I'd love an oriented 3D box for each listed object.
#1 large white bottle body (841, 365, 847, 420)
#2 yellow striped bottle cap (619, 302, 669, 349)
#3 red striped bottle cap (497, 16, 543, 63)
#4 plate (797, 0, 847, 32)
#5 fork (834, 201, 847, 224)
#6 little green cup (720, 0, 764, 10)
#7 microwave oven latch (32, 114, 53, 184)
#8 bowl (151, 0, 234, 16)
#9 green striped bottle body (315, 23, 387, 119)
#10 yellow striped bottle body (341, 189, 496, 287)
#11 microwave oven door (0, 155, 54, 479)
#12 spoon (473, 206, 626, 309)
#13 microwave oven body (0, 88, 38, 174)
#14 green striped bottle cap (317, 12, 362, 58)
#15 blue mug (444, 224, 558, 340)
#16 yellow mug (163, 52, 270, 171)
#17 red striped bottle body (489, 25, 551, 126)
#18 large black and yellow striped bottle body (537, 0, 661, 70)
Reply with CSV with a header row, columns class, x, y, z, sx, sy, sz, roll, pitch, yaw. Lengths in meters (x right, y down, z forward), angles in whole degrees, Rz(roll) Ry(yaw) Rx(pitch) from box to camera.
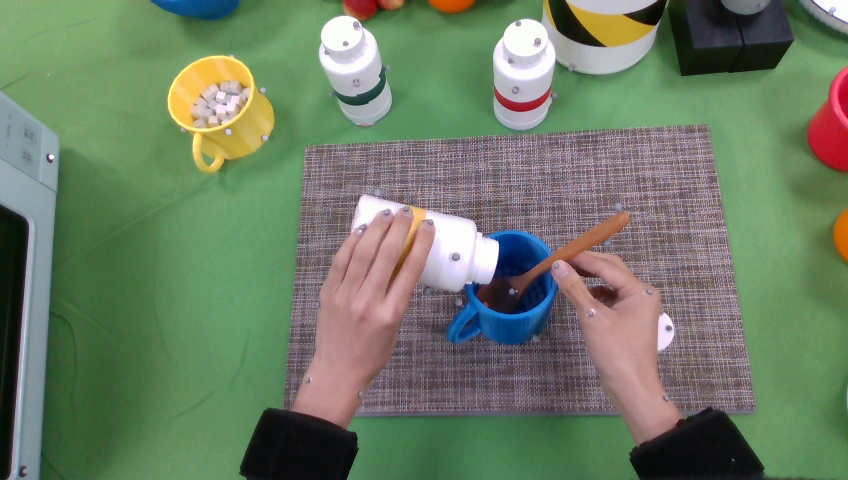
class,x,y,z,sx,sy,sz,roll,pitch,yaw
large white bottle body,0.432,0.119,0.461,0.130,0.186,0.129,-2,69,6
yellow striped bottle cap,0.212,0.082,0.586,0.044,0.019,0.044,-2,70,6
red striped bottle cap,0.094,-0.196,0.590,0.044,0.018,0.044,-1,69,2
plate,0.509,-0.312,0.685,0.209,0.038,0.207,-2,71,6
fork,0.457,0.001,0.519,0.028,0.019,0.205,-39,27,-7
little green cup,0.339,-0.275,0.636,0.061,0.039,0.061,-1,68,3
microwave oven latch,-0.449,-0.103,0.698,0.030,0.030,0.078,-9,70,3
bowl,-0.285,-0.339,0.762,0.151,0.077,0.150,-2,70,5
green striped bottle body,-0.080,-0.190,0.664,0.063,0.120,0.063,-2,70,5
yellow striped bottle body,-0.003,0.002,0.500,0.120,0.063,0.062,13,71,-6
microwave oven door,-0.427,0.065,0.528,0.039,0.245,0.353,-11,69,3
spoon,0.100,0.022,0.525,0.022,0.194,0.041,-3,66,-33
microwave oven body,-0.577,0.055,0.553,0.326,0.262,0.438,-11,70,2
green striped bottle cap,-0.086,-0.208,0.615,0.044,0.020,0.044,-2,70,5
blue mug,0.066,0.053,0.564,0.116,0.106,0.082,-38,70,-8
yellow mug,-0.239,-0.141,0.693,0.100,0.064,0.130,7,72,9
red striped bottle body,0.101,-0.177,0.638,0.063,0.120,0.062,-3,69,8
large black and yellow striped bottle body,0.188,-0.282,0.632,0.130,0.185,0.130,-2,70,6
